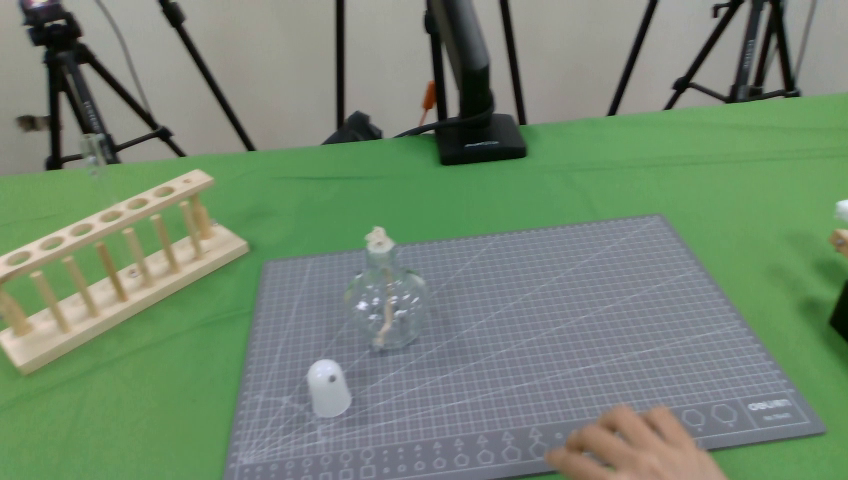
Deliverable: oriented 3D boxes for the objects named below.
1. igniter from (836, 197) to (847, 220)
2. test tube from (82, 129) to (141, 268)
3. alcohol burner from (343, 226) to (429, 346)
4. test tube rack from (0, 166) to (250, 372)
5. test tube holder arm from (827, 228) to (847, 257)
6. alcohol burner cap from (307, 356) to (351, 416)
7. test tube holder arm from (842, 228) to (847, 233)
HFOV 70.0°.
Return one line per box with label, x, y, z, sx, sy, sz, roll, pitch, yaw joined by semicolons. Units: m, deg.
igniter;0.428;0.038;0.474;0.057;0.025;0.273;-8;33;-2
test tube;-0.309;-0.036;0.602;0.017;0.151;0.017;-2;30;1
alcohol burner;-0.034;0.036;0.530;0.078;0.120;0.077;-2;38;2
test tube rack;-0.306;0.019;0.611;0.066;0.086;0.242;28;47;36
test tube holder arm;0.373;0.019;0.509;0.010;0.015;0.087;-2;36;-7
alcohol burner cap;-0.078;0.114;0.489;0.034;0.048;0.033;-2;37;2
test tube holder arm;0.384;0.045;0.474;0.013;0.015;0.176;-2;36;-8
